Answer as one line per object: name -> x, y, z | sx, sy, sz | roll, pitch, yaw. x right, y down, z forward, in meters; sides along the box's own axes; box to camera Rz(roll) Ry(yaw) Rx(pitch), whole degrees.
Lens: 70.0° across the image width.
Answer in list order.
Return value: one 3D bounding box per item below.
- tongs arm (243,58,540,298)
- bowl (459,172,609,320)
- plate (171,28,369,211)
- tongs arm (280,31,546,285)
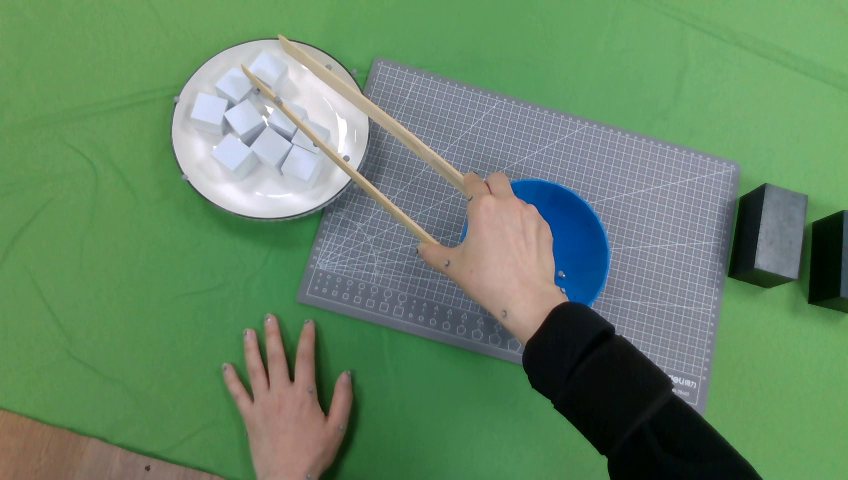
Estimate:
tongs arm -> -0.047, -0.075, 0.564 | 0.051, 0.027, 0.381 | -39, 65, -13
bowl -> 0.105, 0.013, 0.629 | 0.151, 0.077, 0.150 | 1, 77, -6
plate -> -0.163, -0.128, 0.657 | 0.208, 0.039, 0.206 | 1, 77, -4
tongs arm -> -0.024, -0.095, 0.571 | 0.028, 0.028, 0.384 | -39, 65, -17
